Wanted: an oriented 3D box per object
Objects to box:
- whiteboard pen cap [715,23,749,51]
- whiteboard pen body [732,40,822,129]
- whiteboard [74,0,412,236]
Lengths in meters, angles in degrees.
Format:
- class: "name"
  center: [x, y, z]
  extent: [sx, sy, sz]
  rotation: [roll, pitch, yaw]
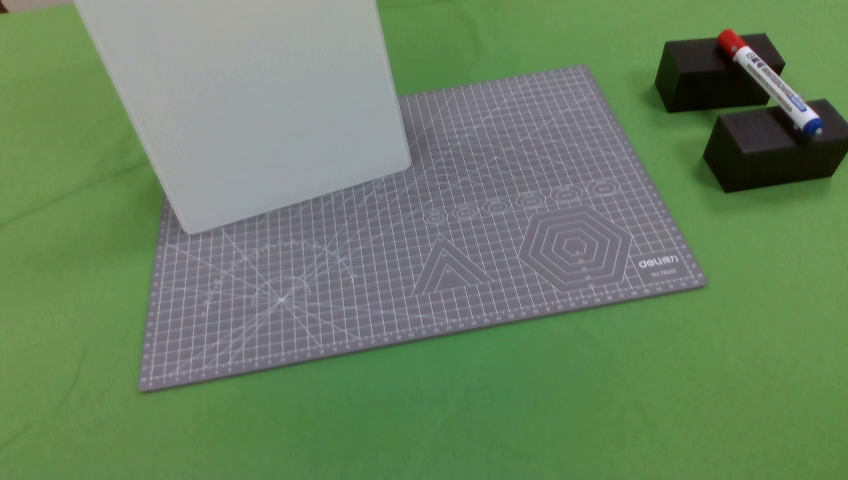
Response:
- class: "whiteboard pen cap"
  center: [0.293, -0.191, 0.575]
  extent: [0.017, 0.017, 0.032]
  rotation: [-15, 52, -7]
- class: "whiteboard pen body"
  center: [0.305, -0.147, 0.540]
  extent: [0.017, 0.017, 0.139]
  rotation: [-13, 52, -5]
- class: "whiteboard"
  center: [-0.158, -0.195, 0.532]
  extent: [0.217, 0.308, 0.142]
  rotation: [-18, 34, -8]
